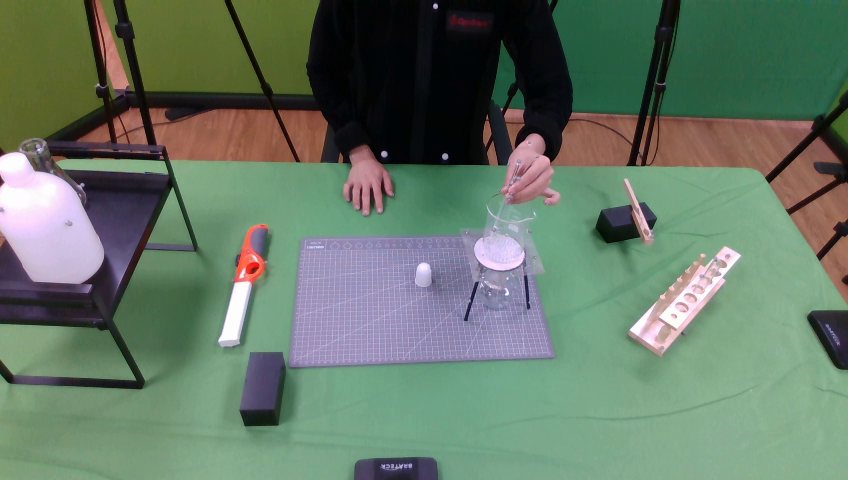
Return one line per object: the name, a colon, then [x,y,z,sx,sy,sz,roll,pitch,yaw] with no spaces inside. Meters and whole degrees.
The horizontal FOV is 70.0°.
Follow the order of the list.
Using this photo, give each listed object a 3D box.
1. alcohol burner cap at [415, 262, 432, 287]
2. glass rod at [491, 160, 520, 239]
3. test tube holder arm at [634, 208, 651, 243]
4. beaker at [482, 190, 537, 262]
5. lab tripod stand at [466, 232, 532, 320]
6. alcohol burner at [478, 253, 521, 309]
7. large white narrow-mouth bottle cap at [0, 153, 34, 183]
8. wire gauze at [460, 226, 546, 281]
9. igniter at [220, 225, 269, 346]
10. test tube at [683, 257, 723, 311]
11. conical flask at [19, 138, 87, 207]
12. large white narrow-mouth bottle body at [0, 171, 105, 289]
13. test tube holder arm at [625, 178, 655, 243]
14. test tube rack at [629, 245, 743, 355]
alcohol burner cap: [0.000,0.061,1.119,0.034,0.048,0.033,2,45,-2]
glass rod: [0.126,-0.057,0.946,0.008,0.200,0.008,3,56,-5]
test tube holder arm: [0.428,-0.030,1.189,0.010,0.015,0.087,3,47,-3]
beaker: [0.136,-0.019,0.983,0.084,0.101,0.073,17,47,14]
lab tripod stand: [0.125,0.060,1.065,0.148,0.132,0.147,1,45,0]
alcohol burner: [0.134,0.067,1.072,0.078,0.120,0.077,0,47,0]
large white narrow-mouth bottle cap: [-0.510,-0.089,0.754,0.038,0.024,0.037,2,46,-2]
wire gauze: [0.130,0.017,1.016,0.121,0.011,0.124,-3,43,-9]
igniter: [-0.323,0.072,1.100,0.057,0.025,0.274,-6,46,5]
test tube: [0.475,0.080,1.037,0.017,0.151,0.017,1,51,-1]
conical flask: [-0.576,-0.097,0.930,0.075,0.122,0.075,2,46,-2]
large white narrow-mouth bottle body: [-0.513,-0.029,0.818,0.102,0.195,0.101,2,46,-2]
test tube holder arm: [0.434,-0.062,1.220,0.013,0.015,0.177,2,47,-3]
test tube rack: [0.474,0.095,1.091,0.242,0.085,0.066,-34,56,-31]
